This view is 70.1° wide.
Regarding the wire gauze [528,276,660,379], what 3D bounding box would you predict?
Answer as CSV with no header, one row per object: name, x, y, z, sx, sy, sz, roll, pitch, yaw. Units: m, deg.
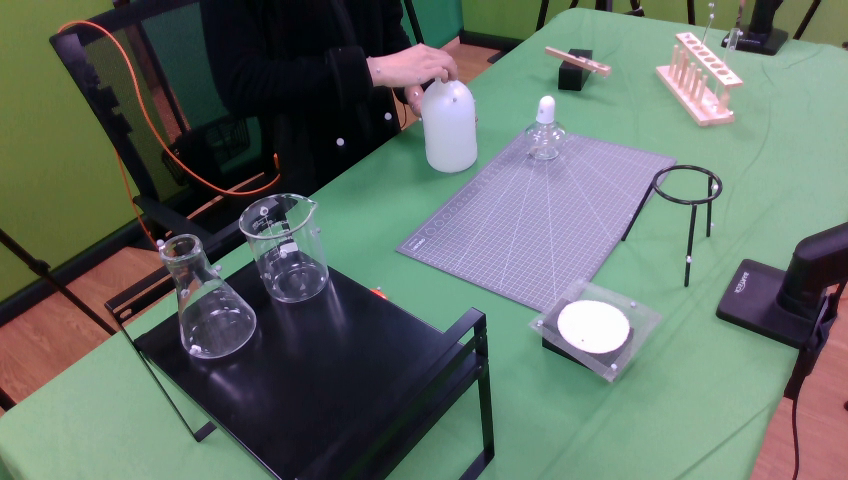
wire gauze,0.214,0.103,0.763,0.124,0.011,0.122,30,52,35

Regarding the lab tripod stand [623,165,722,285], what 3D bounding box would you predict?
lab tripod stand,0.365,-0.030,0.874,0.148,0.132,0.147,-6,41,6

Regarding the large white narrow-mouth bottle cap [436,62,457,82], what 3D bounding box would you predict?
large white narrow-mouth bottle cap,0.039,-0.293,1.054,0.038,0.024,0.037,-4,40,4

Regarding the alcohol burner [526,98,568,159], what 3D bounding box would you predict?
alcohol burner,0.228,-0.210,1.118,0.078,0.119,0.077,-5,43,5

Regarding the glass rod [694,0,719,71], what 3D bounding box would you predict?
glass rod,0.560,-0.401,1.214,0.008,0.200,0.008,-1,49,2

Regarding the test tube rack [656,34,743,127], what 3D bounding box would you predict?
test tube rack,0.553,-0.330,1.233,0.067,0.085,0.241,-7,40,2

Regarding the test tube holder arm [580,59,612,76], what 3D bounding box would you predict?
test tube holder arm,0.363,-0.369,1.289,0.010,0.015,0.087,-27,43,-29

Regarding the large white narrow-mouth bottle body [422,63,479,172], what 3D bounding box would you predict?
large white narrow-mouth bottle body,0.048,-0.228,1.111,0.102,0.195,0.101,-4,41,4

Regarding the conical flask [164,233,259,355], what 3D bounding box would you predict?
conical flask,-0.216,0.051,0.601,0.075,0.122,0.075,-4,40,4

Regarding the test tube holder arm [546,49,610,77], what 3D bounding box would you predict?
test tube holder arm,0.331,-0.387,1.315,0.013,0.015,0.177,-26,43,-28

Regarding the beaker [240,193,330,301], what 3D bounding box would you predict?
beaker,-0.144,0.009,0.656,0.084,0.101,0.073,-25,43,-19

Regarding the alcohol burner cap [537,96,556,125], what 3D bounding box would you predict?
alcohol burner cap,0.223,-0.237,1.095,0.034,0.048,0.033,-1,42,1

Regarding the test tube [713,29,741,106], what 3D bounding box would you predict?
test tube,0.572,-0.324,1.146,0.017,0.151,0.017,-3,40,3

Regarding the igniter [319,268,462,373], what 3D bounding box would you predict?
igniter,-0.059,0.107,0.862,0.274,0.025,0.057,28,62,34
